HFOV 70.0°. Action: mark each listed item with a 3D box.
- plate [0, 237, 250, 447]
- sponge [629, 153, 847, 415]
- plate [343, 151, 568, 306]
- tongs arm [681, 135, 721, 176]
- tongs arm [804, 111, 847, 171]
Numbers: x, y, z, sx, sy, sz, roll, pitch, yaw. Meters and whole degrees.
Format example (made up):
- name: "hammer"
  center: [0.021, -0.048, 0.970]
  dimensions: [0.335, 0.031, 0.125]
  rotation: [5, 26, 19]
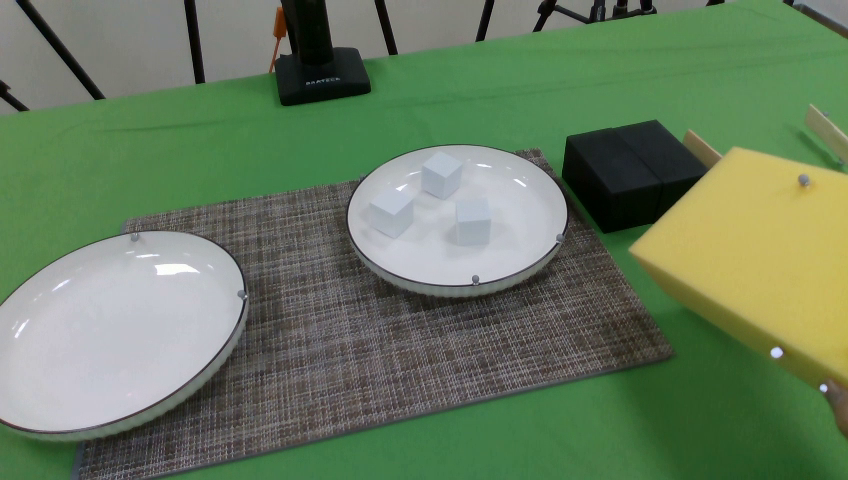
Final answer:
- name: "plate"
  center: [-0.244, 0.078, 0.494]
  dimensions: [0.209, 0.038, 0.207]
  rotation: [-2, 42, 2]
- name: "sponge"
  center: [0.250, 0.022, 0.401]
  dimensions: [0.118, 0.061, 0.205]
  rotation: [-47, 25, 2]
- name: "plate"
  center: [0.029, -0.011, 0.576]
  dimensions: [0.207, 0.039, 0.205]
  rotation: [-2, 42, 2]
- name: "tongs arm"
  center: [0.359, 0.011, 0.544]
  dimensions: [0.028, 0.028, 0.383]
  rotation: [-14, 43, -15]
- name: "tongs arm"
  center: [0.438, -0.006, 0.551]
  dimensions: [0.051, 0.027, 0.380]
  rotation: [-7, 43, -3]
